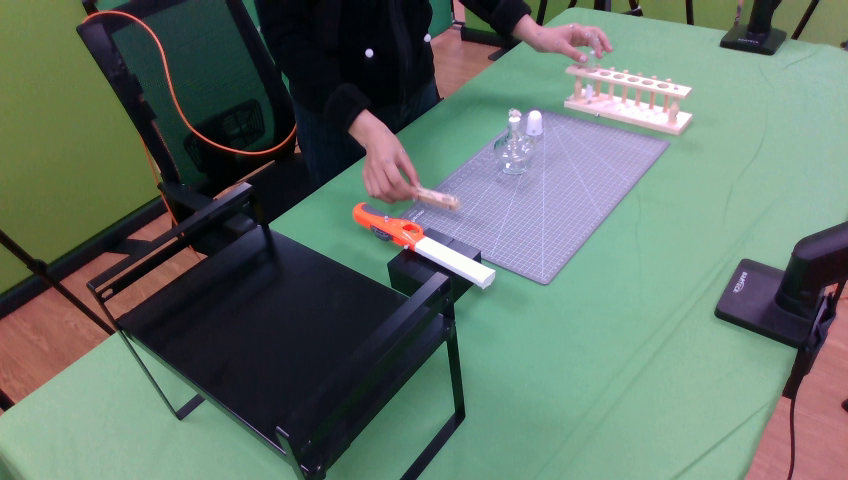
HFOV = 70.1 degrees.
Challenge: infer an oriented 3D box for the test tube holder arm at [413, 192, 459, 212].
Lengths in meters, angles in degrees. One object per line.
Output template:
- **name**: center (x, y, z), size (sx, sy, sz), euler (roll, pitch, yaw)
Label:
- **test tube holder arm**: center (0.018, -0.064, 0.985), size (0.087, 0.015, 0.010), euler (21, 51, 34)

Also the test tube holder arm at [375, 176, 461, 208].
- **test tube holder arm**: center (-0.013, -0.081, 1.014), size (0.177, 0.015, 0.013), euler (20, 51, 34)

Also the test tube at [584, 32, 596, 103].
- **test tube**: center (0.329, -0.339, 1.199), size (0.017, 0.151, 0.017), euler (-6, 44, 6)

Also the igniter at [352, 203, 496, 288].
- **igniter**: center (-0.011, 0.002, 0.899), size (0.274, 0.025, 0.057), euler (27, 45, 33)

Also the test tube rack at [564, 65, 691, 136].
- **test tube rack**: center (0.404, -0.287, 1.204), size (0.240, 0.085, 0.067), euler (24, 50, 32)

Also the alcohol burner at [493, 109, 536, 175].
- **alcohol burner**: center (0.163, -0.179, 1.087), size (0.078, 0.119, 0.077), euler (-5, 38, 5)

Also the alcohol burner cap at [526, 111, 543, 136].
- **alcohol burner cap**: center (0.219, -0.232, 1.196), size (0.034, 0.048, 0.033), euler (-4, 40, 4)
